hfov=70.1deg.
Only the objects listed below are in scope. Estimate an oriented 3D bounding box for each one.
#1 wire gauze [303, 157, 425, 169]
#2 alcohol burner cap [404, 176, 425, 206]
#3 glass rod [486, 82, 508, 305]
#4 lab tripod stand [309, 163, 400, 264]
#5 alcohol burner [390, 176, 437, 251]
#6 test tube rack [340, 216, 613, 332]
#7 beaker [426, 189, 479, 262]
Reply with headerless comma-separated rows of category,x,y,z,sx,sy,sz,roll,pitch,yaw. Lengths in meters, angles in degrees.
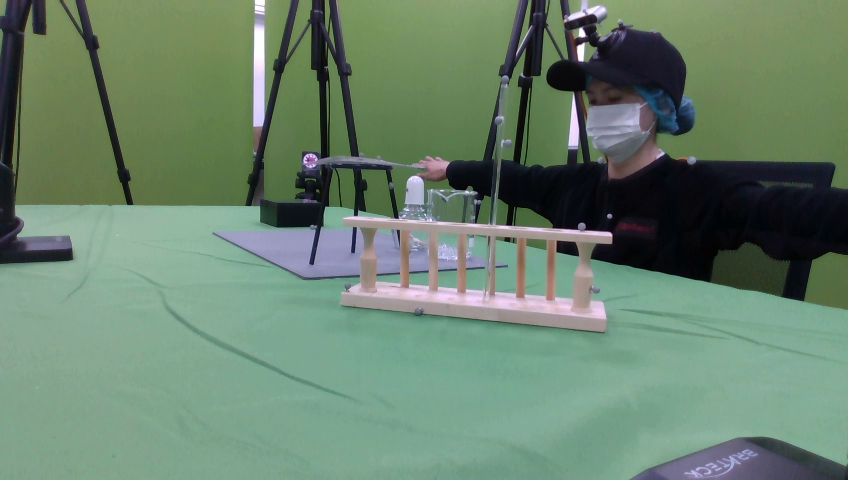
wire gauze,-0.082,-0.102,0.799,0.126,0.011,0.121,-1,7,-30
alcohol burner cap,-0.015,-0.077,0.951,0.034,0.048,0.034,3,4,0
glass rod,0.064,-0.035,0.528,0.008,0.199,0.008,2,13,0
lab tripod stand,-0.091,-0.037,0.813,0.148,0.131,0.148,1,6,0
alcohol burner,-0.016,-0.042,0.955,0.078,0.119,0.078,4,5,0
test tube rack,0.048,0.026,0.568,0.242,0.085,0.067,4,8,13
beaker,0.039,-0.022,0.871,0.074,0.100,0.084,4,8,12
